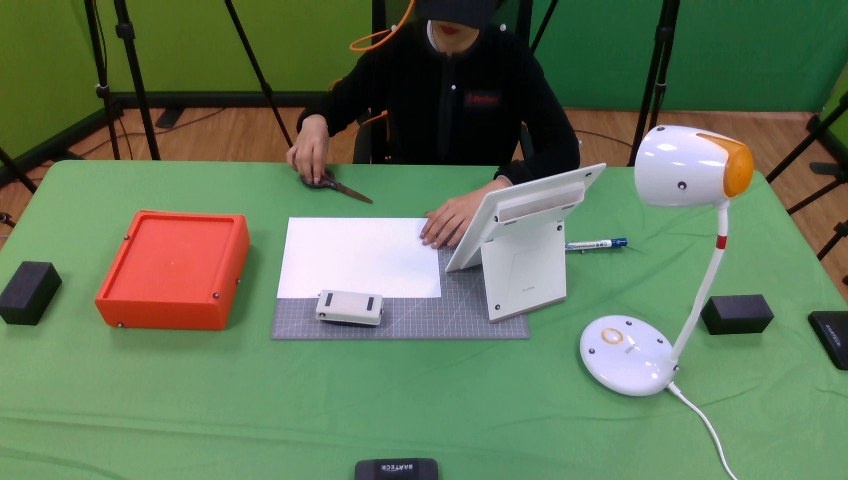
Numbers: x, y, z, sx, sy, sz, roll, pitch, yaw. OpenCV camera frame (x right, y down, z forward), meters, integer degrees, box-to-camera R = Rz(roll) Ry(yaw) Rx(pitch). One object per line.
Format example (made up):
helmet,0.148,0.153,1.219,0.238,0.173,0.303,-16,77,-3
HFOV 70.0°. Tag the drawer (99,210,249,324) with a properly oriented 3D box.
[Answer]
drawer,-0.435,0.044,1.081,0.194,0.073,0.210,3,47,-2

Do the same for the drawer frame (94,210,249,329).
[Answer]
drawer frame,-0.435,0.048,1.076,0.202,0.083,0.212,2,47,-3

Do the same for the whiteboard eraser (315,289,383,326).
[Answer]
whiteboard eraser,-0.130,0.119,1.054,0.113,0.042,0.055,6,47,1

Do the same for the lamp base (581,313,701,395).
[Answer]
lamp base,0.361,0.144,0.972,0.178,0.181,0.160,34,53,23

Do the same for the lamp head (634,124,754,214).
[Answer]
lamp head,0.351,-0.089,0.775,0.112,0.113,0.122,-30,30,-28

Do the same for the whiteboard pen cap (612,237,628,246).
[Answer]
whiteboard pen cap,0.390,0.004,1.215,0.033,0.018,0.018,-7,47,-2

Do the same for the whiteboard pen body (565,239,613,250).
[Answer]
whiteboard pen body,0.331,0.008,1.211,0.141,0.017,0.017,-5,47,-4

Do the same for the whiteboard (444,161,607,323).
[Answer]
whiteboard,0.186,0.025,1.029,0.217,0.306,0.143,-14,68,-18

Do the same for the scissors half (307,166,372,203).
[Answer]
scissors half,-0.181,-0.119,1.311,0.174,0.013,0.040,31,38,22

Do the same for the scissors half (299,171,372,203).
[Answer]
scissors half,-0.191,-0.110,1.295,0.175,0.013,0.040,20,40,9
